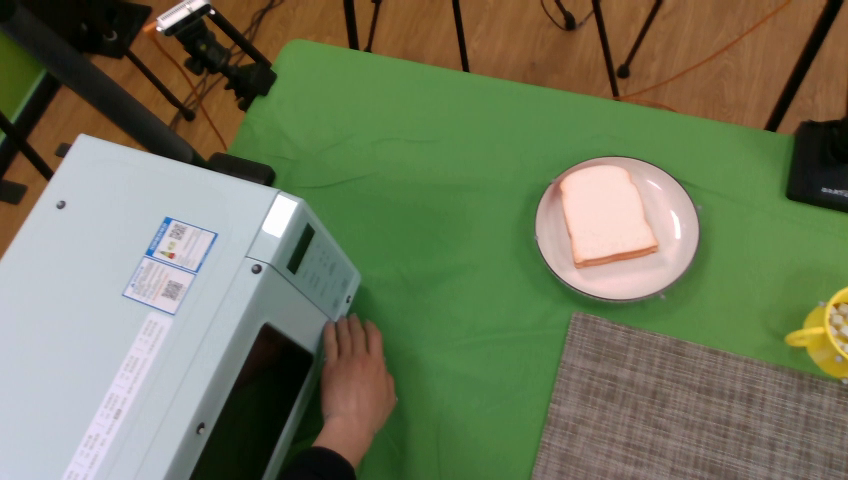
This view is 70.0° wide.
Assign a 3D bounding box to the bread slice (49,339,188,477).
[{"bbox_3d":[-0.338,0.181,0.690,0.106,0.018,0.134,27,67,9],"label":"bread slice"}]

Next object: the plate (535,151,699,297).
[{"bbox_3d":[0.251,-0.020,0.804,0.207,0.039,0.206,-4,67,9],"label":"plate"}]

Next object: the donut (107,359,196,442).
[{"bbox_3d":[-0.319,0.189,0.715,0.099,0.048,0.098,1,62,-2],"label":"donut"}]

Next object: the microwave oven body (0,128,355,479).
[{"bbox_3d":[-0.328,0.143,0.711,0.324,0.262,0.439,17,72,16],"label":"microwave oven body"}]

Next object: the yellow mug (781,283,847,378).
[{"bbox_3d":[0.483,0.106,0.696,0.130,0.064,0.099,-5,66,9],"label":"yellow mug"}]

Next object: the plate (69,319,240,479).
[{"bbox_3d":[-0.322,0.201,0.738,0.209,0.038,0.207,-2,70,6],"label":"plate"}]

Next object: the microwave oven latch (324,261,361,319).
[{"bbox_3d":[-0.113,0.064,0.812,0.030,0.030,0.079,21,73,17],"label":"microwave oven latch"}]

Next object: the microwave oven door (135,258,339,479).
[{"bbox_3d":[-0.210,0.218,0.653,0.039,0.246,0.354,16,71,17],"label":"microwave oven door"}]

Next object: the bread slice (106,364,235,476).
[{"bbox_3d":[-0.321,0.227,0.755,0.104,0.019,0.131,37,53,20],"label":"bread slice"}]
